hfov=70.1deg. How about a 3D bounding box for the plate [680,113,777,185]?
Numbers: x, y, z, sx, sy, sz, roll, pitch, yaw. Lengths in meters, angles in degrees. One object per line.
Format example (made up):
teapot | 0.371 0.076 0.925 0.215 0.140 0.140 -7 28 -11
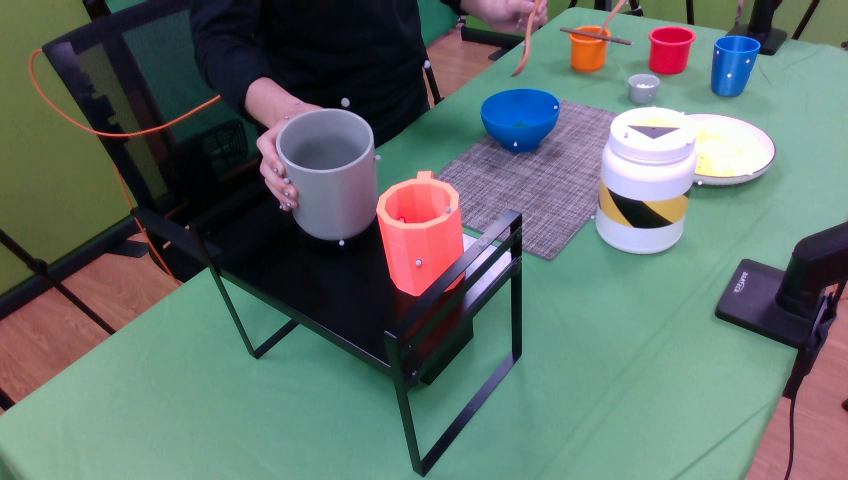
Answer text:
plate | 0.506 -0.158 1.073 0.209 0.038 0.208 -4 40 4

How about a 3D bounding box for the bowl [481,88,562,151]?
bowl | 0.187 -0.223 1.161 0.151 0.077 0.150 -4 40 4

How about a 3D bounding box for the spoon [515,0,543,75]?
spoon | 0.195 -0.382 1.062 0.022 0.193 0.041 14 0 -2

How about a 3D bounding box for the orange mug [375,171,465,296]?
orange mug | 0.000 -0.016 0.661 0.083 0.101 0.125 -2 45 8

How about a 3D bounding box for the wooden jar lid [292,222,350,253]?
wooden jar lid | -0.169 -0.015 1.026 0.108 0.021 0.108 -4 40 4

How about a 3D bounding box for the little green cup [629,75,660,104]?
little green cup | 0.457 -0.314 1.260 0.061 0.039 0.061 -4 40 4

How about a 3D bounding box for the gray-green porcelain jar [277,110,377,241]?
gray-green porcelain jar | -0.108 -0.070 0.708 0.106 0.127 0.105 1 51 -1

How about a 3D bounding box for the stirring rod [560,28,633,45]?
stirring rod | 0.382 -0.453 1.345 0.174 0.006 0.014 26 52 34

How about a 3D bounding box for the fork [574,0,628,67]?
fork | 0.413 -0.481 1.377 0.207 0.019 0.028 -56 43 12

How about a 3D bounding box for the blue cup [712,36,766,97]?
blue cup | 0.627 -0.350 1.227 0.092 0.100 0.092 -4 39 4

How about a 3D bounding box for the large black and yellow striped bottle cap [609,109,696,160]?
large black and yellow striped bottle cap | 0.319 -0.150 0.849 0.115 0.019 0.114 -4 39 3

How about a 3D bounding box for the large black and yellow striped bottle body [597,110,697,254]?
large black and yellow striped bottle body | 0.331 -0.086 0.904 0.131 0.185 0.130 -5 41 4
